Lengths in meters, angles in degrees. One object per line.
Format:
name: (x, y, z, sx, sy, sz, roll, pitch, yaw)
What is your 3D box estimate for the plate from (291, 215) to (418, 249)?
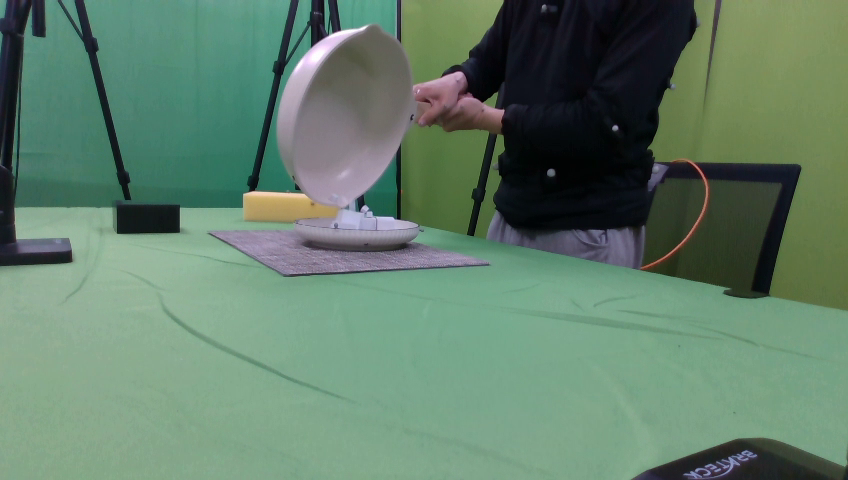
plate: (-0.115, -0.013, 1.001, 0.208, 0.039, 0.207, 2, 7, 0)

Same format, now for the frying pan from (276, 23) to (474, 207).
frying pan: (-0.062, -0.223, 1.057, 0.102, 0.306, 0.490, 32, 31, 31)

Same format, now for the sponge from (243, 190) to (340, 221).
sponge: (-0.298, -0.077, 1.388, 0.207, 0.061, 0.118, 2, 8, -7)
